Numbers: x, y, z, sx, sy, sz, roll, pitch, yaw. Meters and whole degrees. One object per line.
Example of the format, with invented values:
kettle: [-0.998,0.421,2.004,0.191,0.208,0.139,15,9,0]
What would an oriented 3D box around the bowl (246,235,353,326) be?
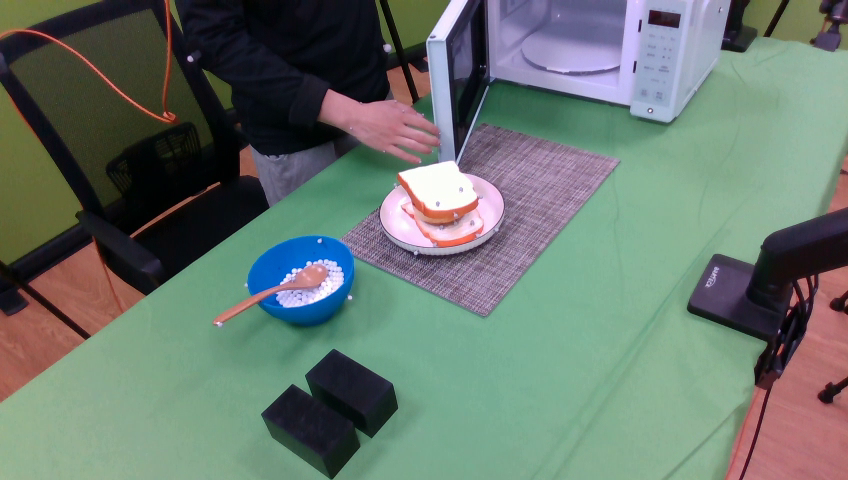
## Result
bowl: [-0.170,0.070,0.868,0.151,0.077,0.150,-4,41,4]

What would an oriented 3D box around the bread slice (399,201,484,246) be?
bread slice: [0.037,-0.038,0.990,0.107,0.018,0.133,-23,43,-17]

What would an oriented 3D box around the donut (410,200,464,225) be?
donut: [0.028,-0.062,0.978,0.099,0.048,0.098,-5,39,4]

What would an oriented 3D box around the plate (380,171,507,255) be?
plate: [0.033,-0.042,0.995,0.207,0.039,0.206,-4,40,4]

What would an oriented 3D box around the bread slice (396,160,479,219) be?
bread slice: [0.027,-0.081,0.952,0.105,0.019,0.130,-15,43,-18]

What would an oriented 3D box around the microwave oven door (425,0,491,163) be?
microwave oven door: [0.075,-0.340,1.161,0.039,0.245,0.355,6,42,15]

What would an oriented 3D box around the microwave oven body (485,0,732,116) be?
microwave oven body: [0.377,-0.462,1.267,0.438,0.261,0.327,21,48,30]

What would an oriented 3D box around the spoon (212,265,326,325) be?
spoon: [-0.208,0.072,0.822,0.041,0.021,0.195,26,28,27]

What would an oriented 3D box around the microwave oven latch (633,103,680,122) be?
microwave oven latch: [0.444,-0.249,1.157,0.078,0.029,0.030,21,49,30]
